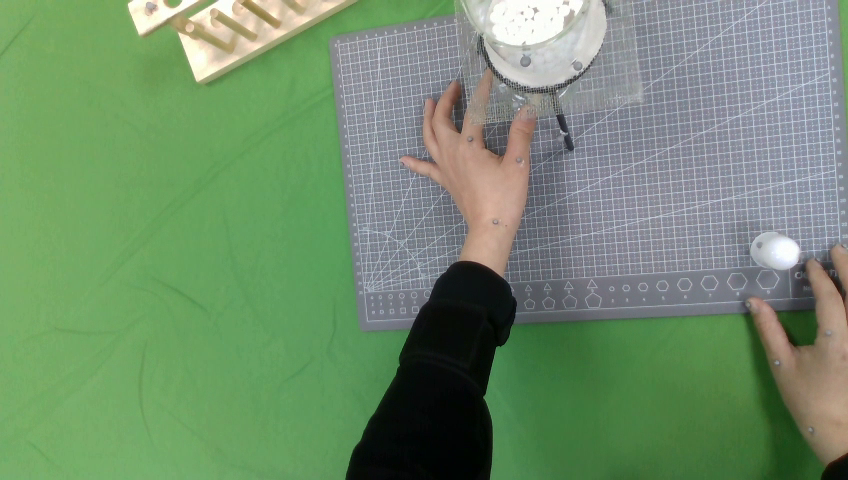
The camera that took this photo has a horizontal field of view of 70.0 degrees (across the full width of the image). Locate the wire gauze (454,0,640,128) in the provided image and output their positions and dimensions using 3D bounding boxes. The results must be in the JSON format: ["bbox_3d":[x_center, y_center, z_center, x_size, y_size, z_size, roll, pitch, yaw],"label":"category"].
[{"bbox_3d":[0.085,-0.147,0.433,0.125,0.011,0.121,-6,95,12],"label":"wire gauze"}]

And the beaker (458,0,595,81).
[{"bbox_3d":[0.067,-0.145,0.388,0.083,0.100,0.074,9,96,14],"label":"beaker"}]

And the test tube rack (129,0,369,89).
[{"bbox_3d":[-0.151,-0.236,0.585,0.242,0.085,0.066,-23,87,15],"label":"test tube rack"}]

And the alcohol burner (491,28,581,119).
[{"bbox_3d":[0.093,-0.143,0.509,0.078,0.119,0.078,1,93,13],"label":"alcohol burner"}]

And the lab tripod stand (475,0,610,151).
[{"bbox_3d":[0.102,-0.150,0.496,0.148,0.131,0.148,1,94,13],"label":"lab tripod stand"}]

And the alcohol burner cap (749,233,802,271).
[{"bbox_3d":[0.294,0.011,0.503,0.034,0.048,0.034,1,93,14],"label":"alcohol burner cap"}]
